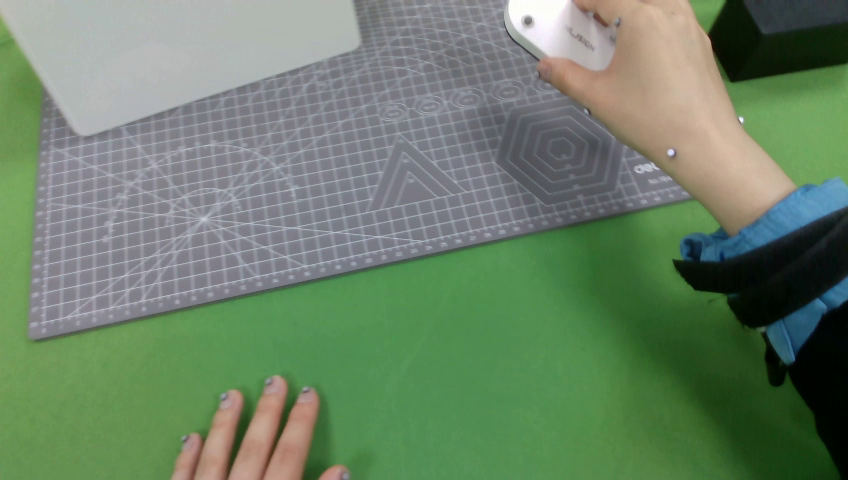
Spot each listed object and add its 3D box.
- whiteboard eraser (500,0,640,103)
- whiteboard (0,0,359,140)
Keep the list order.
[{"bbox_3d":[0.096,-0.129,0.394,0.101,0.019,0.041,38,81,-1],"label":"whiteboard eraser"},{"bbox_3d":[-0.193,-0.259,0.386,0.217,0.308,0.142,-22,46,-10],"label":"whiteboard"}]
